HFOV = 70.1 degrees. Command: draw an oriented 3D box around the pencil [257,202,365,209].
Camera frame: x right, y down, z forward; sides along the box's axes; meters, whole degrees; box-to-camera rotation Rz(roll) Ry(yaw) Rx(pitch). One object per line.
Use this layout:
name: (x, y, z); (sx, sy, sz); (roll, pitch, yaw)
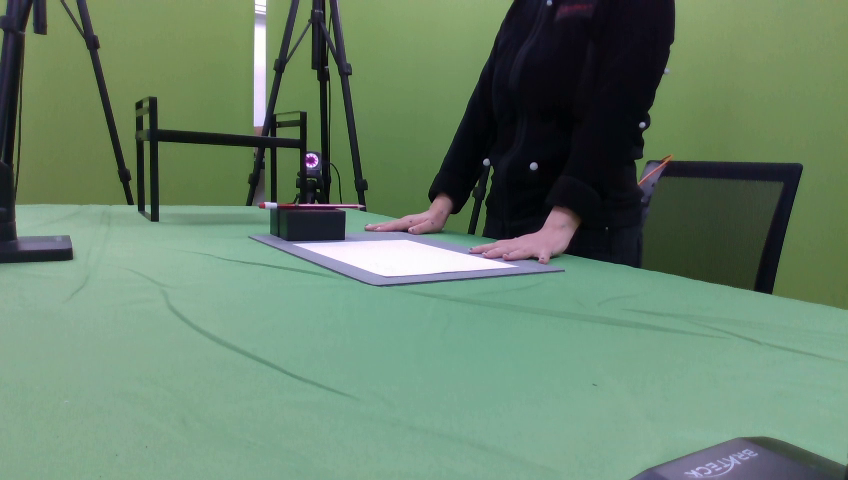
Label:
pencil: (-0.191, -0.060, 1.046); (0.195, 0.012, 0.012); (-2, 8, -30)
